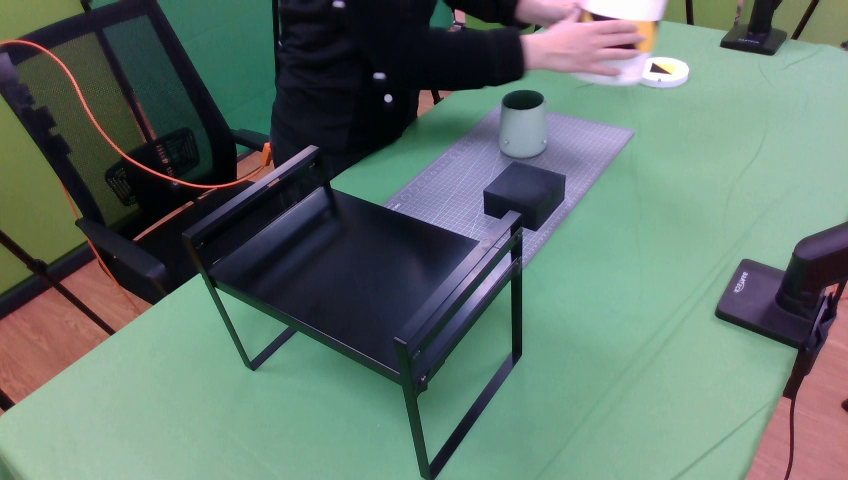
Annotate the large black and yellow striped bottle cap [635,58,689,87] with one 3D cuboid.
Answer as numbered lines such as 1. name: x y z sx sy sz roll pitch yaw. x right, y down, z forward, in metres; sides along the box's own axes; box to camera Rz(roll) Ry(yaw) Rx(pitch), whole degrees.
1. large black and yellow striped bottle cap: 0.522 -0.370 1.332 0.115 0.019 0.114 -3 41 3

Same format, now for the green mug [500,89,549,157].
1. green mug: 0.197 -0.228 1.145 0.092 0.105 0.125 15 45 25

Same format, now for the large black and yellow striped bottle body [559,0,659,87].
1. large black and yellow striped bottle body: 0.307 -0.359 0.997 0.131 0.184 0.130 6 31 -3
